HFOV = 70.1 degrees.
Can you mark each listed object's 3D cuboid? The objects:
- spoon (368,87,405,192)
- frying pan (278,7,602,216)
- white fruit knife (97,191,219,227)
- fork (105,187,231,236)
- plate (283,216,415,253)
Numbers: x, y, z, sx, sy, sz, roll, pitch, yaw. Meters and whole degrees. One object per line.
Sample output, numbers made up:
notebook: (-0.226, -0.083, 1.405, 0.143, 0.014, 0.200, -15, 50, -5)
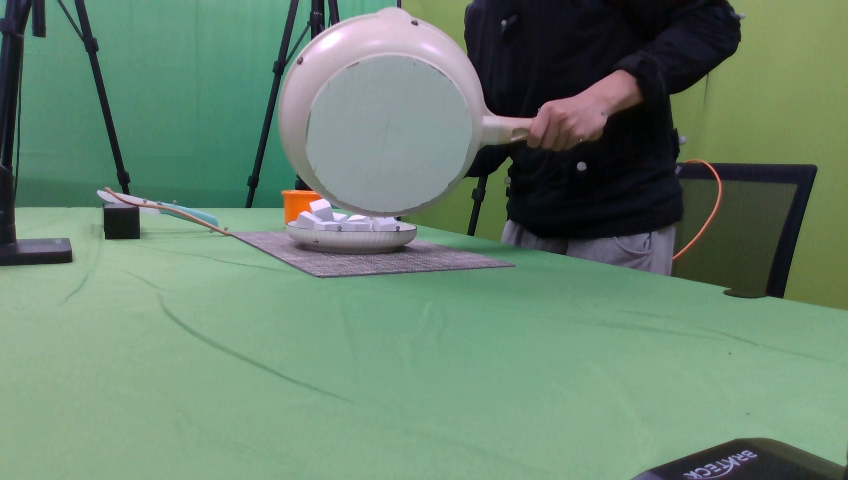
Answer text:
spoon: (-0.057, -0.164, 0.964, 0.042, 0.193, 0.021, 24, -28, -28)
frying pan: (0.046, -0.162, 0.868, 0.490, 0.307, 0.102, -5, 34, -20)
white fruit knife: (-0.468, -0.056, 1.079, 0.208, 0.027, 0.016, 15, -4, -29)
fork: (-0.428, -0.046, 1.020, 0.208, 0.018, 0.028, 19, -11, -26)
plate: (-0.119, -0.009, 0.968, 0.208, 0.039, 0.207, 3, 7, 0)
